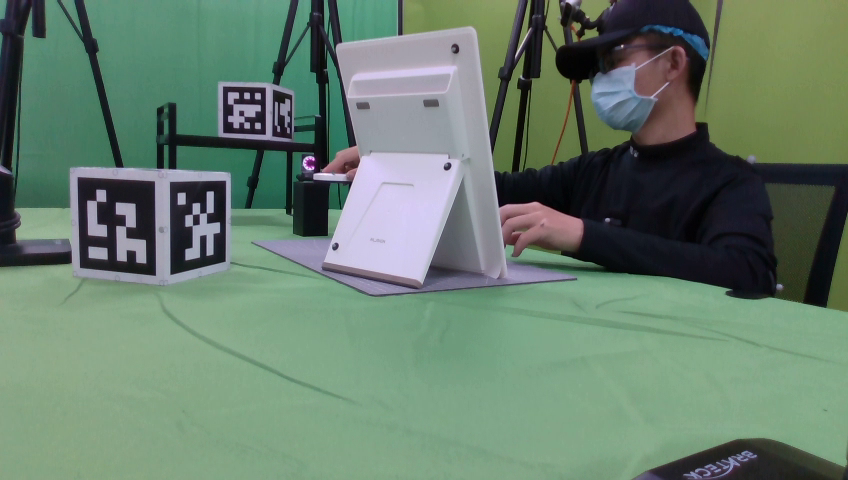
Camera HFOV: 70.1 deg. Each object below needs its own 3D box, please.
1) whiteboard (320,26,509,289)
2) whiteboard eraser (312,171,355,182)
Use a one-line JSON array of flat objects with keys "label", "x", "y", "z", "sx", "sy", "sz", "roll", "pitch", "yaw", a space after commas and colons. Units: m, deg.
[{"label": "whiteboard", "x": -0.046, "y": -0.076, "z": 0.720, "sx": 0.216, "sy": 0.305, "sz": 0.144, "roll": 9, "pitch": 29, "yaw": 39}, {"label": "whiteboard eraser", "x": -0.164, "y": -0.121, "z": 1.154, "sx": 0.102, "sy": 0.019, "sz": 0.041, "roll": -1, "pitch": 8, "yaw": -34}]
